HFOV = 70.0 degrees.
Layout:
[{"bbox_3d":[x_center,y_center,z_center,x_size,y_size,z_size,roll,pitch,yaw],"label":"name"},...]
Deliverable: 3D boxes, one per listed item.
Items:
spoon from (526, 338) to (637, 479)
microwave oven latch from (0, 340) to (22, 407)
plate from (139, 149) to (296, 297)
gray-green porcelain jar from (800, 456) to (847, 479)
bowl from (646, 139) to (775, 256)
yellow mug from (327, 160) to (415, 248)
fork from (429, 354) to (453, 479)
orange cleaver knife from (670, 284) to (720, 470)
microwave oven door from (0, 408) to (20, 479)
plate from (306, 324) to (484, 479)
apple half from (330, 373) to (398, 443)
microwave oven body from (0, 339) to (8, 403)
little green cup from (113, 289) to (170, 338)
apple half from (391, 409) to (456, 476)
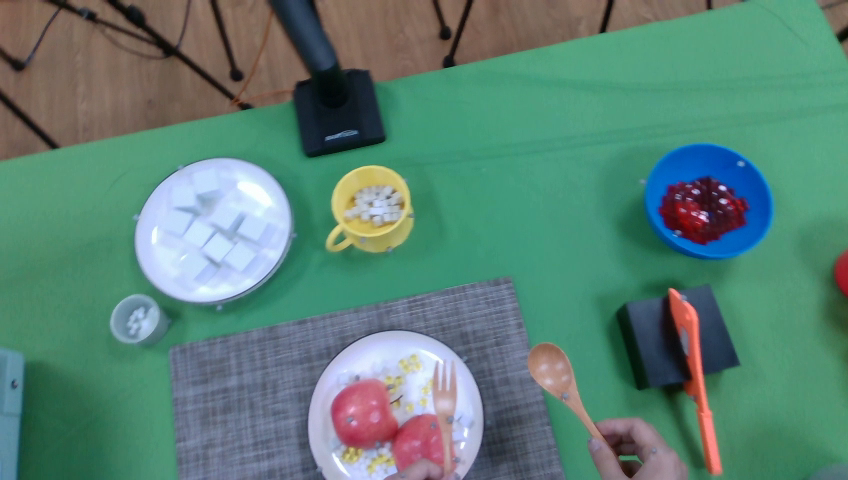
[{"bbox_3d":[0.165,0.182,0.601,0.041,0.022,0.192,-32,77,-4],"label":"spoon"},{"bbox_3d":[-0.514,0.164,0.742,0.030,0.030,0.078,-6,72,0],"label":"microwave oven latch"},{"bbox_3d":[-0.272,-0.022,0.813,0.207,0.039,0.206,-1,71,3],"label":"plate"},{"bbox_3d":[0.465,0.280,0.629,0.106,0.127,0.105,-1,71,3],"label":"gray-green porcelain jar"},{"bbox_3d":[0.349,-0.043,0.768,0.151,0.077,0.150,-1,72,3],"label":"bowl"},{"bbox_3d":[-0.075,-0.037,0.793,0.131,0.064,0.099,-42,74,-10],"label":"yellow mug"},{"bbox_3d":[0.021,0.219,0.615,0.028,0.018,0.205,12,61,-26],"label":"fork"},{"bbox_3d":[0.311,0.156,0.701,0.012,0.077,0.211,-11,95,3],"label":"orange cleaver knife"},{"bbox_3d":[-0.492,0.336,0.575,0.039,0.245,0.353,-9,71,0],"label":"microwave oven door"},{"bbox_3d":[-0.034,0.205,0.721,0.209,0.038,0.208,-1,72,2],"label":"plate"},{"bbox_3d":[-0.073,0.196,0.709,0.074,0.054,0.080,-14,72,1],"label":"apple half"},{"bbox_3d":[-0.642,0.318,0.594,0.326,0.262,0.438,-8,72,-1],"label":"microwave oven body"},{"bbox_3d":[-0.358,0.096,0.776,0.061,0.039,0.061,-1,73,3],"label":"little green cup"},{"bbox_3d":[-0.003,0.236,0.703,0.081,0.033,0.080,-2,69,5],"label":"apple half"}]
